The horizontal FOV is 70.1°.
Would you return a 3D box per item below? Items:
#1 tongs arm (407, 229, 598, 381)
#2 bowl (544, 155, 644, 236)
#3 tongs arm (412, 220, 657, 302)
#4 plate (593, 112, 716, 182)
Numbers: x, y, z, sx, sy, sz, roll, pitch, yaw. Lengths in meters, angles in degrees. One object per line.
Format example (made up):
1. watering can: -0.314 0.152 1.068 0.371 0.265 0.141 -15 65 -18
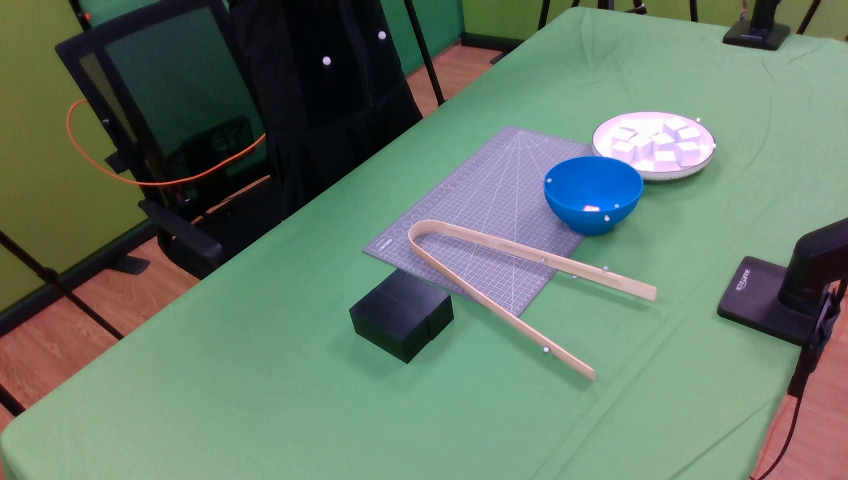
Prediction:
1. tongs arm: 0.092 0.081 0.862 0.028 0.028 0.384 -38 47 -20
2. bowl: 0.266 -0.061 0.957 0.151 0.077 0.150 -5 41 5
3. tongs arm: 0.149 0.031 0.906 0.382 0.026 0.051 20 52 30
4. plate: 0.408 -0.163 1.084 0.207 0.039 0.206 -4 40 4
